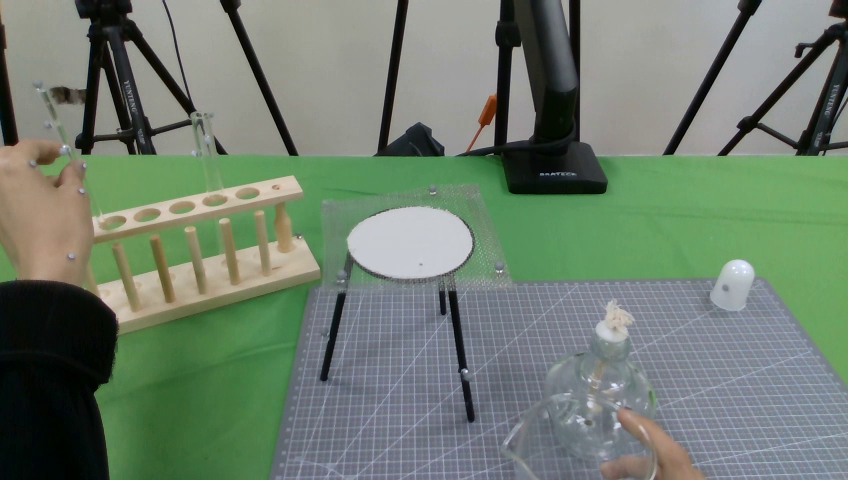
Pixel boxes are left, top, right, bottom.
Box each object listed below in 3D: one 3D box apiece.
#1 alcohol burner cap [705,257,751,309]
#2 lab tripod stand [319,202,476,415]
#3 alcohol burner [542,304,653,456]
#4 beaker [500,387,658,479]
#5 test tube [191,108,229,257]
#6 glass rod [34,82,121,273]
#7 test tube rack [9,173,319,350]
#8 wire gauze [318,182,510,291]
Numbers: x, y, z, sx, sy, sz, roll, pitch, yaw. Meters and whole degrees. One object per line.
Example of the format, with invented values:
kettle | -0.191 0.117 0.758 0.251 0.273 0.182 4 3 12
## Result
alcohol burner cap | 0.285 0.037 0.563 0.034 0.048 0.033 1 36 0
lab tripod stand | -0.012 0.050 0.463 0.148 0.132 0.147 0 38 1
alcohol burner | 0.123 0.093 0.422 0.078 0.120 0.077 0 34 0
beaker | 0.084 0.148 0.356 0.084 0.101 0.073 2 36 3
test tube | -0.193 -0.048 0.558 0.017 0.151 0.017 1 33 0
glass rod | -0.281 -0.035 0.508 0.008 0.201 0.008 -3 36 3
test tube rack | -0.227 0.014 0.556 0.243 0.086 0.066 -15 39 -21
wire gauze | -0.013 -0.004 0.423 0.125 0.011 0.120 -4 36 -6
